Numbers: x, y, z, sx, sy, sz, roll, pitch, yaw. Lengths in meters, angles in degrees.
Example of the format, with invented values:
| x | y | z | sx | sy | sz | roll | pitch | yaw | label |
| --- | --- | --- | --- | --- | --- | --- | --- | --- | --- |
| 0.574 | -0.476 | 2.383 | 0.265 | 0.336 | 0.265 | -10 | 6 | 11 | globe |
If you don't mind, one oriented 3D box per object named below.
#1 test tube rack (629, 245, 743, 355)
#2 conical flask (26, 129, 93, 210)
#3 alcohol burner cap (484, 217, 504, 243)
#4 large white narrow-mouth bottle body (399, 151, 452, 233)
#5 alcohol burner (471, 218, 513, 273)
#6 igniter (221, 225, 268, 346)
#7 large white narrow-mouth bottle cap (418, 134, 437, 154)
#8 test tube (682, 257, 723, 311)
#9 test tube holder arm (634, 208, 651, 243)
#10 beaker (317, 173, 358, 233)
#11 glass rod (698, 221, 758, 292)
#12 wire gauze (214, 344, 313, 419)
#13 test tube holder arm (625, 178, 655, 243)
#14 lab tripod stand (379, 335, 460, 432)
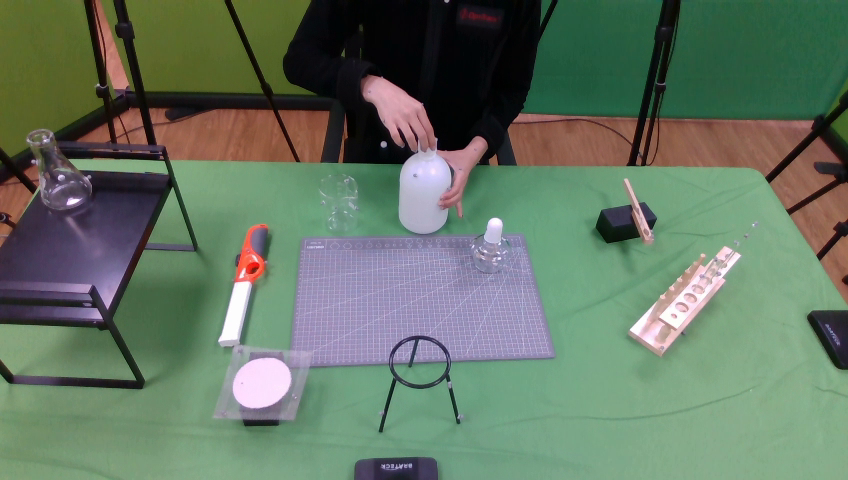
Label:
| x | y | z | sx | sy | sz | roll | pitch | yaw | label |
| --- | --- | --- | --- | --- | --- | --- | --- | --- | --- |
| 0.474 | 0.095 | 1.091 | 0.242 | 0.085 | 0.066 | -34 | 56 | -31 | test tube rack |
| -0.575 | -0.113 | 0.946 | 0.075 | 0.122 | 0.075 | 2 | 46 | -2 | conical flask |
| 0.130 | -0.021 | 1.107 | 0.034 | 0.048 | 0.033 | 4 | 40 | -3 | alcohol burner cap |
| 0.004 | -0.110 | 1.183 | 0.102 | 0.195 | 0.101 | 2 | 47 | -2 | large white narrow-mouth bottle body |
| 0.128 | 0.005 | 1.132 | 0.078 | 0.120 | 0.077 | 0 | 47 | 0 | alcohol burner |
| -0.323 | 0.072 | 1.100 | 0.057 | 0.025 | 0.274 | -6 | 45 | 5 | igniter |
| 0.007 | -0.176 | 1.112 | 0.038 | 0.024 | 0.037 | 2 | 47 | -2 | large white narrow-mouth bottle cap |
| 0.475 | 0.080 | 1.037 | 0.017 | 0.151 | 0.017 | 1 | 50 | -1 | test tube |
| 0.428 | -0.030 | 1.189 | 0.010 | 0.015 | 0.087 | 1 | 47 | -2 | test tube holder arm |
| -0.166 | -0.070 | 1.198 | 0.083 | 0.101 | 0.074 | 25 | 50 | 18 | beaker |
| 0.527 | 0.035 | 1.060 | 0.008 | 0.200 | 0.008 | 5 | 49 | -6 | glass rod |
| -0.241 | 0.213 | 0.916 | 0.121 | 0.011 | 0.124 | 5 | 46 | 1 | wire gauze |
| 0.433 | -0.062 | 1.220 | 0.013 | 0.015 | 0.177 | 0 | 47 | -3 | test tube holder arm |
| -0.011 | 0.214 | 0.911 | 0.148 | 0.132 | 0.147 | 1 | 45 | 0 | lab tripod stand |
